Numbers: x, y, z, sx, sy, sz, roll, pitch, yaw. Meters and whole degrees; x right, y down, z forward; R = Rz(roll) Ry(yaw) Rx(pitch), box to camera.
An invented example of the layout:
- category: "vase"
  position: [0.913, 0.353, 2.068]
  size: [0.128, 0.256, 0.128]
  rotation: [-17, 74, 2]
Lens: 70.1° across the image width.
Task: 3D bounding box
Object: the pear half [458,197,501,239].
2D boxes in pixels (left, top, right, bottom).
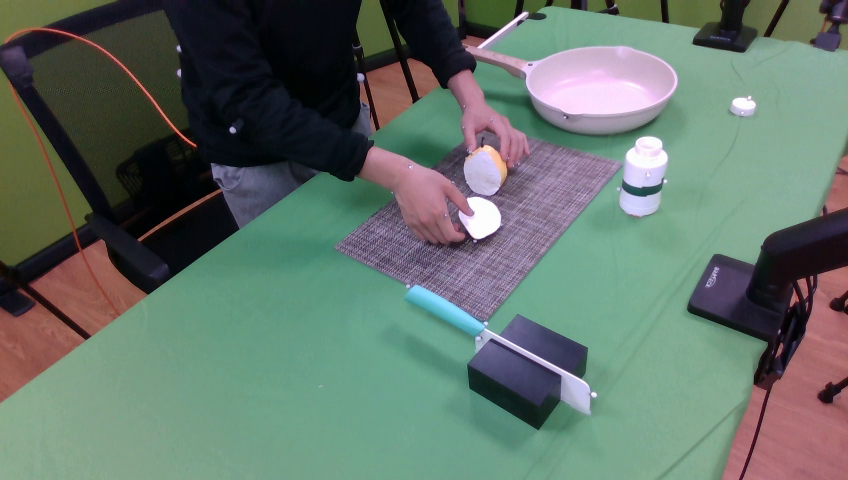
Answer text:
- category: "pear half"
  position: [0.087, -0.030, 0.976]
  size: [0.070, 0.031, 0.088]
  rotation: [14, 53, 2]

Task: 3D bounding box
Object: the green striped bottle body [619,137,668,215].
- category: "green striped bottle body"
  position: [0.350, -0.103, 0.963]
  size: [0.063, 0.120, 0.063]
  rotation: [-4, 41, 4]

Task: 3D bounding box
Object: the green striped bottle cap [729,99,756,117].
- category: "green striped bottle cap"
  position: [0.623, -0.259, 1.182]
  size: [0.044, 0.020, 0.044]
  rotation: [-3, 40, 3]

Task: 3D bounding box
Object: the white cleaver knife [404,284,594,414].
- category: "white cleaver knife"
  position: [0.083, 0.135, 0.764]
  size: [0.284, 0.066, 0.021]
  rotation: [28, 46, 31]

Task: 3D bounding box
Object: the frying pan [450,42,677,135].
- category: "frying pan"
  position: [0.268, -0.344, 1.266]
  size: [0.485, 0.103, 0.307]
  rotation: [26, 49, 21]

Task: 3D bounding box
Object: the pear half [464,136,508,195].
- category: "pear half"
  position: [0.109, -0.138, 1.039]
  size: [0.076, 0.110, 0.056]
  rotation: [14, 46, 19]
